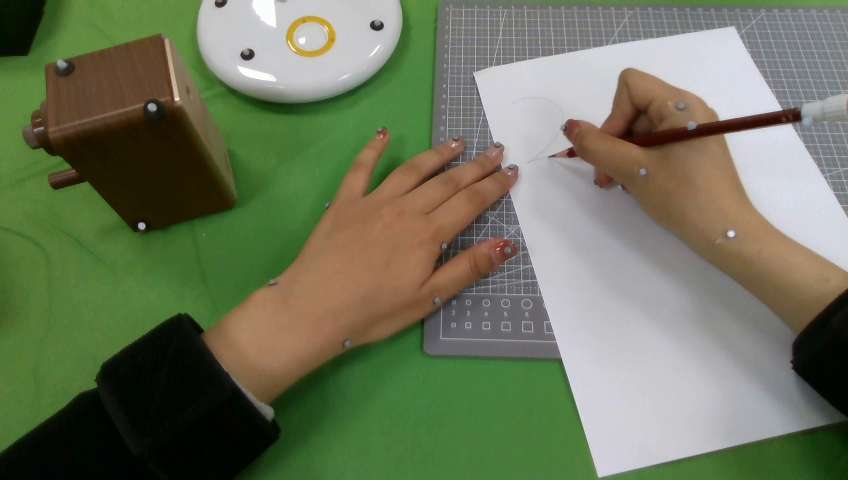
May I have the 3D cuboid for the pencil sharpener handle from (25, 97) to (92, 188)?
[{"bbox_3d":[-0.220,-0.053,0.359,0.031,0.068,0.035,-17,66,-7],"label":"pencil sharpener handle"}]

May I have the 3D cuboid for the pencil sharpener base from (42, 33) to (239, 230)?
[{"bbox_3d":[-0.170,-0.061,0.376,0.077,0.108,0.061,-17,63,-7],"label":"pencil sharpener base"}]

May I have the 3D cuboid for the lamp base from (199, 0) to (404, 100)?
[{"bbox_3d":[-0.105,-0.219,0.416,0.161,0.182,0.177,-27,62,-12],"label":"lamp base"}]

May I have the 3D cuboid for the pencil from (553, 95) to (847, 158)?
[{"bbox_3d":[0.145,-0.060,0.345,0.012,0.193,0.012,0,90,-35],"label":"pencil"}]
